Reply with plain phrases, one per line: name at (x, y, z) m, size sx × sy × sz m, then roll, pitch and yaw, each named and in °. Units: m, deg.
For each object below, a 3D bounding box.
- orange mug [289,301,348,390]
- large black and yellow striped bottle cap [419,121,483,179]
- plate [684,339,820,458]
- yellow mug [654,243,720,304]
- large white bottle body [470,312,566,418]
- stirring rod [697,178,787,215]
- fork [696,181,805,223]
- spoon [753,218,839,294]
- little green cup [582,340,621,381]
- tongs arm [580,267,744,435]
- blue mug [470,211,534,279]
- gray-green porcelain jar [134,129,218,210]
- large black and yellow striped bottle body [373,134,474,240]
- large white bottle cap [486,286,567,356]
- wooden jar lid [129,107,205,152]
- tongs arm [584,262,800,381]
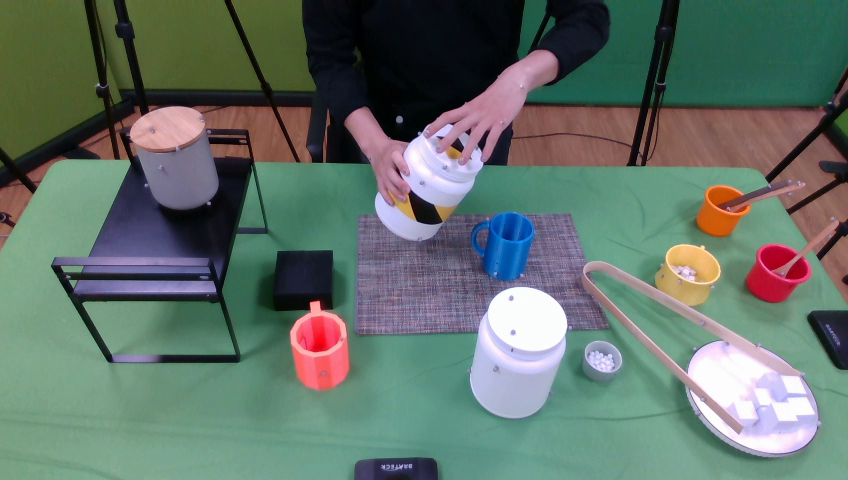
orange mug at (-0.170, 0.162, 0.976) m, size 0.083 × 0.101 × 0.125 m, roll -8°, pitch 52°, yaw -11°
large black and yellow striped bottle cap at (0.046, -0.150, 1.003) m, size 0.115 × 0.019 × 0.114 m, roll 19°, pitch 46°, yaw -20°
plate at (0.523, 0.256, 0.982) m, size 0.208 × 0.039 × 0.206 m, roll 2°, pitch 46°, yaw -2°
yellow mug at (0.504, 0.054, 1.154) m, size 0.099 × 0.064 × 0.130 m, roll 29°, pitch 50°, yaw 21°
large white bottle body at (0.143, 0.173, 0.930) m, size 0.131 × 0.185 × 0.130 m, roll 2°, pitch 46°, yaw -2°
stirring rod at (0.650, -0.088, 1.246) m, size 0.006 × 0.176 × 0.014 m, roll 29°, pitch 50°, yaw -38°
fork at (0.659, -0.077, 1.231) m, size 0.207 × 0.019 × 0.028 m, roll -26°, pitch 35°, yaw 34°
spoon at (0.700, 0.031, 1.138) m, size 0.194 × 0.022 × 0.041 m, roll -47°, pitch 55°, yaw 14°
little green cup at (0.295, 0.203, 1.015) m, size 0.061 × 0.039 × 0.061 m, roll 2°, pitch 45°, yaw -2°
tongs arm at (0.384, 0.174, 1.028) m, size 0.028 × 0.028 × 0.385 m, roll -25°, pitch 46°, yaw -15°
blue mug at (0.141, 0.005, 1.140) m, size 0.116 × 0.106 × 0.082 m, roll 18°, pitch 48°, yaw 13°
gray-green porcelain jar at (-0.388, -0.120, 0.960) m, size 0.106 × 0.127 × 0.105 m, roll 2°, pitch 46°, yaw -2°
large black and yellow striped bottle body at (0.005, -0.101, 1.058) m, size 0.131 × 0.184 × 0.130 m, roll 20°, pitch 44°, yaw -20°
large white bottle cap at (0.147, 0.114, 0.869) m, size 0.115 × 0.018 × 0.114 m, roll 3°, pitch 46°, yaw -3°
wooden jar lid at (-0.385, -0.163, 0.915) m, size 0.108 × 0.021 × 0.107 m, roll 2°, pitch 47°, yaw -2°
tongs arm at (0.451, 0.137, 1.063) m, size 0.051 × 0.027 × 0.382 m, roll -34°, pitch 50°, yaw -27°
